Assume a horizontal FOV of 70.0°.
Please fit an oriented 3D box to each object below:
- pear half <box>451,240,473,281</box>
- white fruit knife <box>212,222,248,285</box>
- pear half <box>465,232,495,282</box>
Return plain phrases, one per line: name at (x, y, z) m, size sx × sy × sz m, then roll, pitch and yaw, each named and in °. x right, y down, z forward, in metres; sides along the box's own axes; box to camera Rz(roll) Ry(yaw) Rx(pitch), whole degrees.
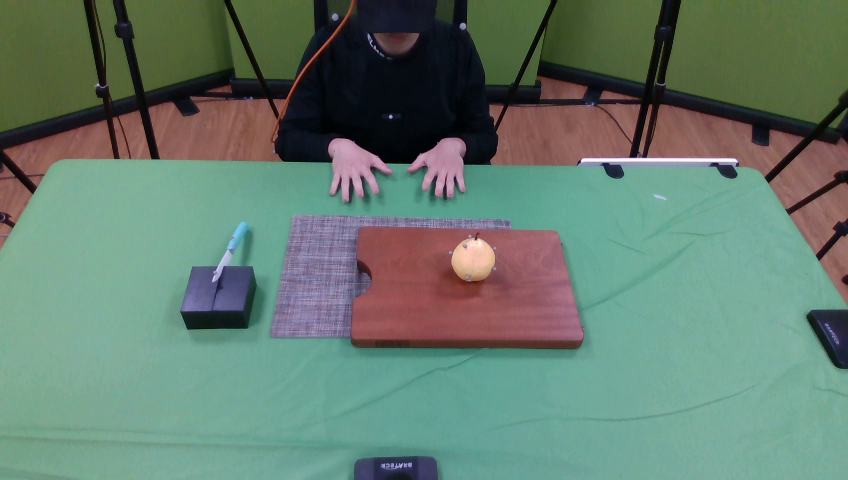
pear half at (0.065, 0.036, 1.085) m, size 0.031 × 0.088 × 0.070 m, roll -11°, pitch 50°, yaw -14°
white fruit knife at (-0.355, 0.020, 1.111) m, size 0.016 × 0.027 × 0.206 m, roll -1°, pitch 31°, yaw 0°
pear half at (0.100, 0.024, 1.085) m, size 0.056 × 0.110 × 0.076 m, roll -11°, pitch 51°, yaw -15°
